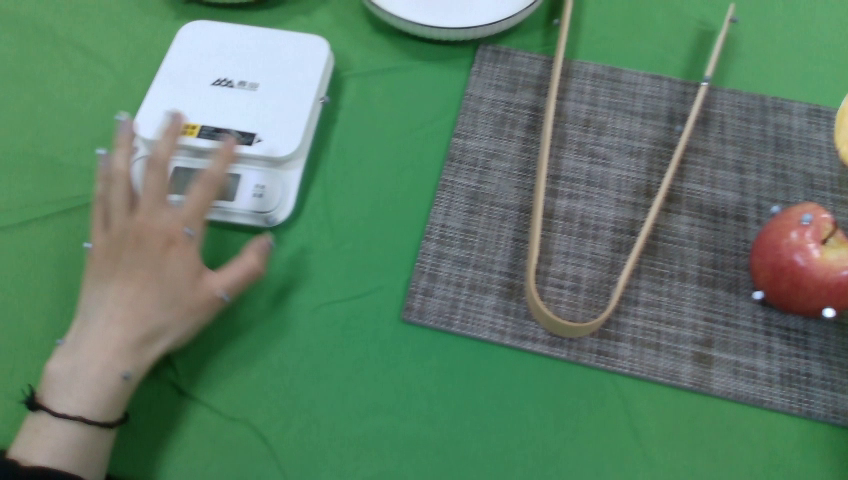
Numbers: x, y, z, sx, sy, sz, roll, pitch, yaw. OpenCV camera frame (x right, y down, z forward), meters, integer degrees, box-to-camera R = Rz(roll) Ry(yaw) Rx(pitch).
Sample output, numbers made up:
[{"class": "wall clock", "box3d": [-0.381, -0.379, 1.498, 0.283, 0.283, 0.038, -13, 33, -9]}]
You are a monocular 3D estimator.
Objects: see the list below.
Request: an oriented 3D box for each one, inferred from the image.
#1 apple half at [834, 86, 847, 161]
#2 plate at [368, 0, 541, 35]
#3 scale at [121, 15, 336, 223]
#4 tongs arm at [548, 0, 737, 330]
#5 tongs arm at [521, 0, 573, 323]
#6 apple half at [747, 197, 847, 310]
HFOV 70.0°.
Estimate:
[{"class": "apple half", "box3d": [0.327, -0.078, 0.435, 0.081, 0.033, 0.081, -1, 81, 9]}, {"class": "plate", "box3d": [0.031, -0.282, 0.622, 0.209, 0.038, 0.207, 0, 62, 0]}, {"class": "scale", "box3d": [-0.168, -0.113, 0.534, 0.148, 0.032, 0.199, 8, 63, 4]}, {"class": "tongs arm", "box3d": [0.198, -0.085, 0.519, 0.050, 0.027, 0.383, 24, 65, 11]}, {"class": "tongs arm", "box3d": [0.118, -0.111, 0.534, 0.028, 0.028, 0.385, 12, 63, 2]}, {"class": "apple half", "box3d": [0.269, 0.016, 0.442, 0.053, 0.075, 0.080, -22, 67, -7]}]
